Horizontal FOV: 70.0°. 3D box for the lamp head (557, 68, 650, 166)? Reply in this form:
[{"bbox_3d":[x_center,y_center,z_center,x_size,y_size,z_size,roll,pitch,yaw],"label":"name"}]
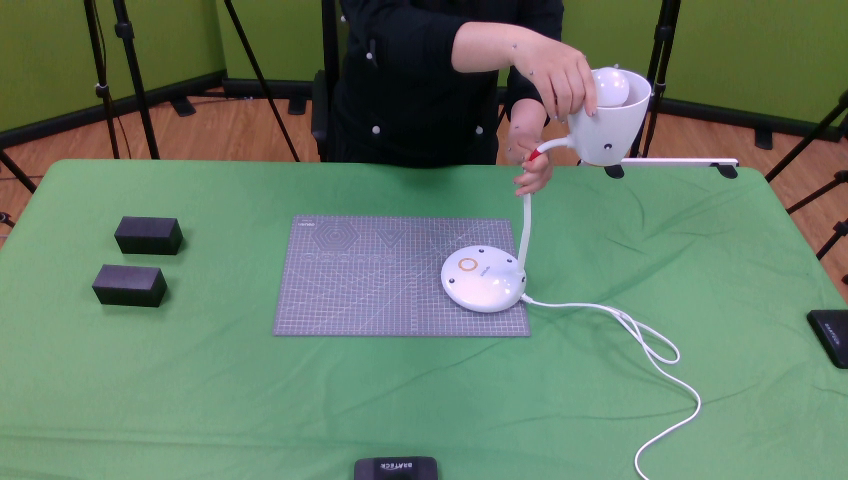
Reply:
[{"bbox_3d":[0.250,-0.166,0.862,0.112,0.123,0.111,0,42,0],"label":"lamp head"}]

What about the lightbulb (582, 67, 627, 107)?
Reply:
[{"bbox_3d":[0.250,-0.190,0.853,0.059,0.108,0.059,-1,42,1],"label":"lightbulb"}]

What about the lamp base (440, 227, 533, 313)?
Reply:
[{"bbox_3d":[0.126,0.021,1.072,0.179,0.181,0.160,22,49,13],"label":"lamp base"}]
